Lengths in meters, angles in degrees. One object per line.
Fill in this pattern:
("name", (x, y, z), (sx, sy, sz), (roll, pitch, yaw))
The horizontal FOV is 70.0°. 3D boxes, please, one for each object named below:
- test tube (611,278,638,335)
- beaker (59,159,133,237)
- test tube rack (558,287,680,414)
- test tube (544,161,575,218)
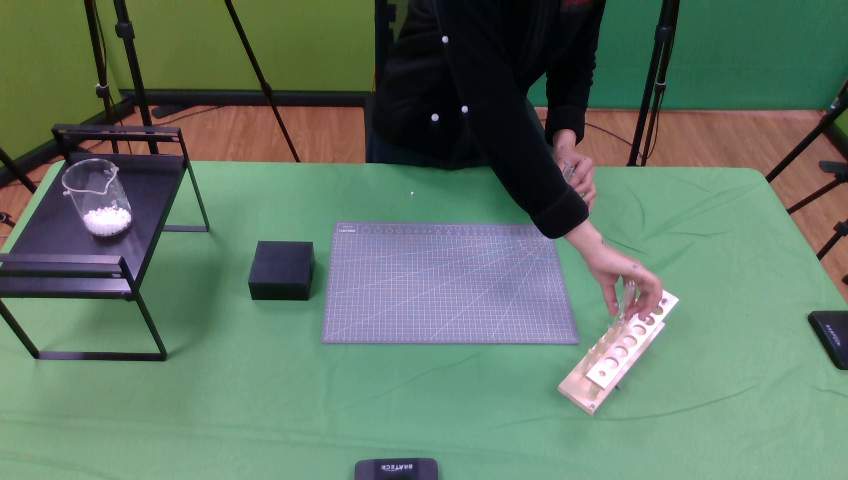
("test tube", (0.319, 0.108, 0.969), (0.017, 0.151, 0.017), (-2, 51, 3))
("beaker", (-0.488, -0.060, 0.914), (0.074, 0.101, 0.083), (-35, 58, -30))
("test tube rack", (0.327, 0.170, 1.009), (0.066, 0.085, 0.242), (35, 54, 27))
("test tube", (0.243, -0.088, 1.097), (0.017, 0.151, 0.017), (4, 55, -5))
